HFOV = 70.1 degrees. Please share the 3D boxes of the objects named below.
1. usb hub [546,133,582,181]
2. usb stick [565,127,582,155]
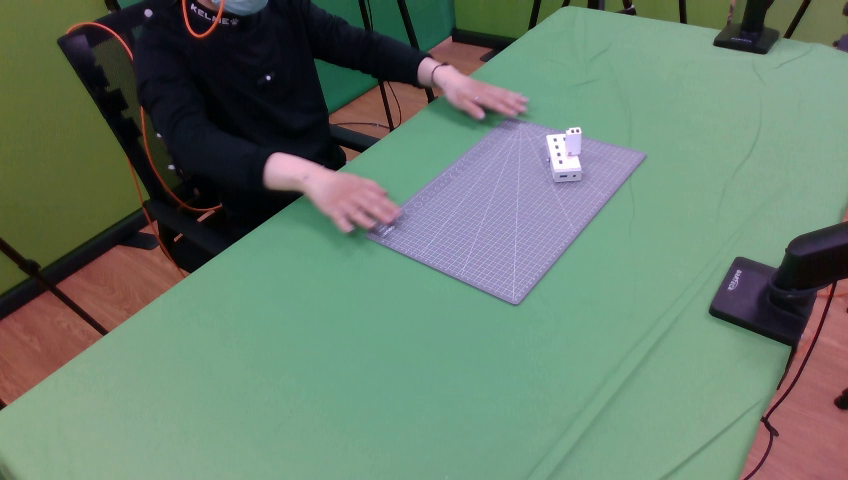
[{"bbox_3d":[0.255,-0.153,1.103,0.049,0.025,0.124,-3,41,4],"label":"usb hub"},{"bbox_3d":[0.266,-0.170,1.077,0.027,0.059,0.021,-3,41,2],"label":"usb stick"}]
